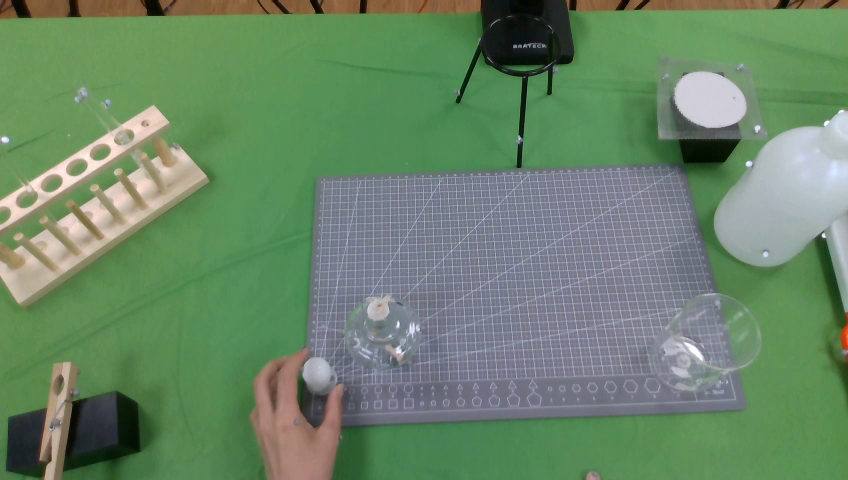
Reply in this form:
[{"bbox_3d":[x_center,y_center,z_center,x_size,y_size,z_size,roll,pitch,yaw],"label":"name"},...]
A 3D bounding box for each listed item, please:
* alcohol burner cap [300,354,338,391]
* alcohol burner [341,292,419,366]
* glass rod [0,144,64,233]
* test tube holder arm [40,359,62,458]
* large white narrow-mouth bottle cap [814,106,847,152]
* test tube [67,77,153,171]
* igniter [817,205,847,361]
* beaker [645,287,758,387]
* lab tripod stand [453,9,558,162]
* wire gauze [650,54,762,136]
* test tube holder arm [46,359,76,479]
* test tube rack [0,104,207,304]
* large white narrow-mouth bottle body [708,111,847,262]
[{"bbox_3d":[-0.108,0.132,0.610,0.034,0.048,0.033,-1,67,4],"label":"alcohol burner cap"},{"bbox_3d":[-0.044,0.081,0.595,0.078,0.120,0.077,1,62,-1],"label":"alcohol burner"},{"bbox_3d":[-0.410,-0.064,0.614,0.008,0.201,0.008,2,54,-2],"label":"glass rod"},{"bbox_3d":[-0.341,0.155,0.561,0.010,0.015,0.087,-9,68,4],"label":"test tube holder arm"},{"bbox_3d":[0.374,-0.100,0.545,0.038,0.024,0.037,0,63,0],"label":"large white narrow-mouth bottle cap"},{"bbox_3d":[-0.337,-0.121,0.661,0.017,0.151,0.017,-2,62,5],"label":"test tube"},{"bbox_3d":[0.461,0.081,0.644,0.057,0.025,0.274,7,63,-7],"label":"igniter"},{"bbox_3d":[0.262,0.099,0.592,0.084,0.101,0.073,3,63,3],"label":"beaker"},{"bbox_3d":[0.105,-0.189,0.722,0.148,0.132,0.147,1,64,-1],"label":"lab tripod stand"},{"bbox_3d":[0.335,-0.174,0.728,0.121,0.011,0.124,5,63,3],"label":"wire gauze"},{"bbox_3d":[-0.331,0.196,0.543,0.013,0.015,0.177,-9,68,4],"label":"test tube holder arm"},{"bbox_3d":[-0.376,-0.042,0.676,0.242,0.086,0.066,-39,70,-17],"label":"test tube rack"},{"bbox_3d":[0.375,-0.060,0.621,0.102,0.196,0.101,0,63,1],"label":"large white narrow-mouth bottle body"}]
